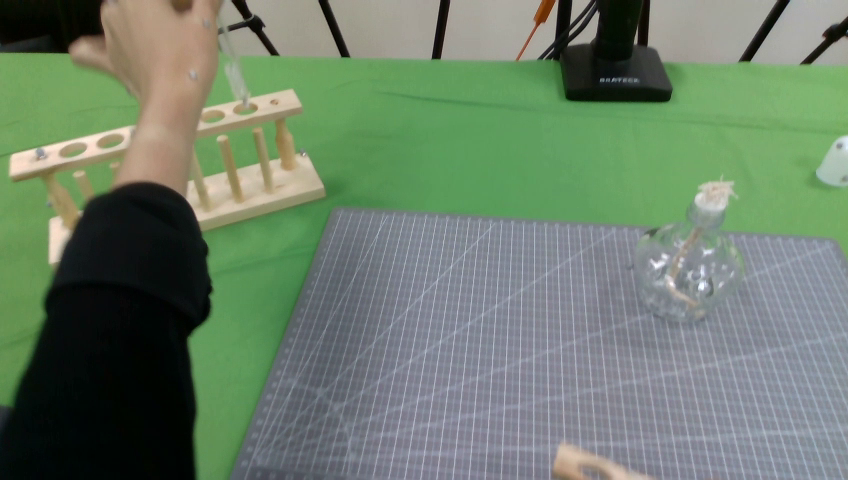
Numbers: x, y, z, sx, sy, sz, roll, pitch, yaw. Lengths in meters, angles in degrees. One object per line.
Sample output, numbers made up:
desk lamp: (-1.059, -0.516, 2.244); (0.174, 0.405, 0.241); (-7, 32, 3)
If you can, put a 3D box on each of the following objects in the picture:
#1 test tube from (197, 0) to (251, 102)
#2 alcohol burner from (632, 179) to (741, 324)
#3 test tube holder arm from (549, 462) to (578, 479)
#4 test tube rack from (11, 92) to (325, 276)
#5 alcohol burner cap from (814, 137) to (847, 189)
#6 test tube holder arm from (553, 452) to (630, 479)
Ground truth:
test tube: (-0.162, -0.170, 0.471); (0.017, 0.151, 0.017); (-2, 51, 3)
alcohol burner: (0.197, 0.005, 0.446); (0.078, 0.120, 0.077); (-1, 42, 1)
test tube holder arm: (0.108, 0.138, 0.312); (0.087, 0.015, 0.010); (17, 59, 18)
test tube rack: (-0.221, -0.055, 0.550); (0.243, 0.086, 0.066); (-18, 45, -16)
alcohol burner cap: (0.401, -0.076, 0.581); (0.034, 0.048, 0.033); (-2, 44, 3)
test tube holder arm: (0.151, 0.147, 0.302); (0.177, 0.015, 0.013); (17, 59, 17)
